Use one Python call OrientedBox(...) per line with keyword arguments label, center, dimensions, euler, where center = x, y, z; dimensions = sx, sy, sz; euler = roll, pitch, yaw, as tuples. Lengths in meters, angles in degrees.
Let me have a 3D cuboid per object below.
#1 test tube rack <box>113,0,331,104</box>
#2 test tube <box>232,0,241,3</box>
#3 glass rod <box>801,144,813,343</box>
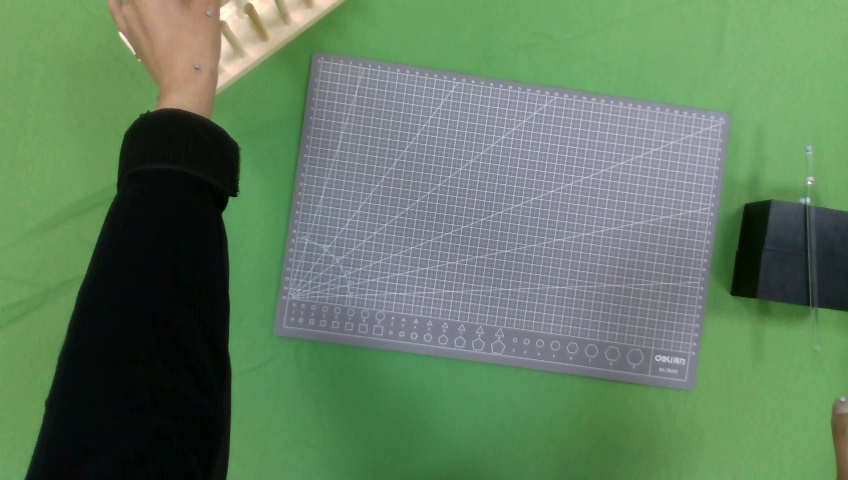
OrientedBox(label="test tube rack", center=(-0.166, -0.240, 0.590), dimensions=(0.242, 0.085, 0.067), euler=(-37, 91, -2))
OrientedBox(label="test tube", center=(-0.185, -0.249, 0.532), dimensions=(0.017, 0.150, 0.017), euler=(0, 85, 0))
OrientedBox(label="glass rod", center=(0.383, 0.003, 0.607), dimensions=(0.008, 0.008, 0.199), euler=(-2, 91, -2))
